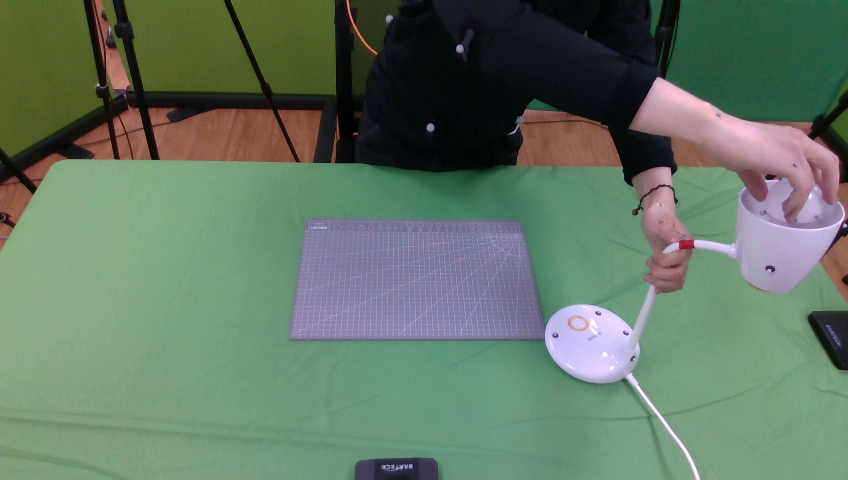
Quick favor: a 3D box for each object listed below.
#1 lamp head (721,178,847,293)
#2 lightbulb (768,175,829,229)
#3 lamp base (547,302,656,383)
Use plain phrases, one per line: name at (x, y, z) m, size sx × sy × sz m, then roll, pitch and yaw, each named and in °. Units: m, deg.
lamp head at (0.423, 0.001, 0.727) m, size 0.112 × 0.123 × 0.111 m, roll 0°, pitch 38°, yaw 0°
lightbulb at (0.431, -0.026, 0.708) m, size 0.059 × 0.108 × 0.059 m, roll -6°, pitch 36°, yaw 4°
lamp base at (0.304, 0.127, 0.982) m, size 0.160 × 0.181 × 0.178 m, roll -33°, pitch 59°, yaw -29°
